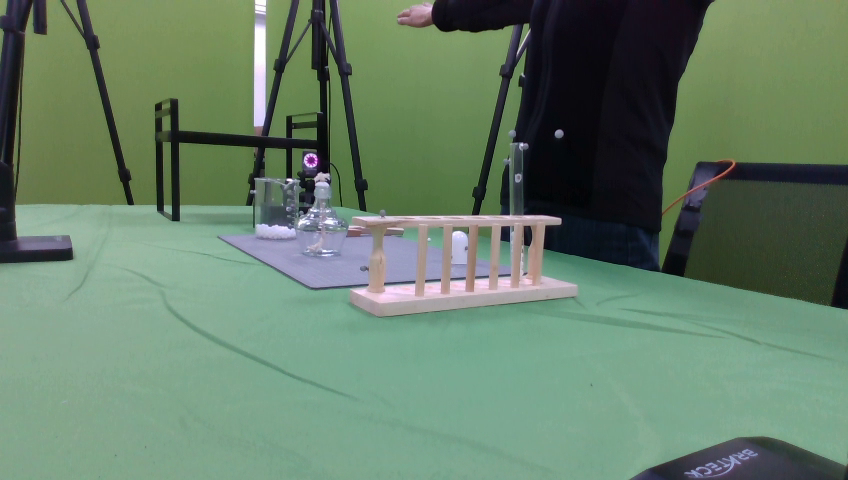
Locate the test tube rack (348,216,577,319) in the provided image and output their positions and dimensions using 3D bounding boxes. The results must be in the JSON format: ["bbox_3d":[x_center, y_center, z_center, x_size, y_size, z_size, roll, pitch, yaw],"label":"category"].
[{"bbox_3d":[0.048,0.021,0.619,0.244,0.085,0.066,-2,9,-31],"label":"test tube rack"}]

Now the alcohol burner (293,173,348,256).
[{"bbox_3d":[-0.147,-0.036,0.859,0.078,0.119,0.078,4,9,0],"label":"alcohol burner"}]

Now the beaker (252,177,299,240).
[{"bbox_3d":[-0.245,-0.052,1.005,0.074,0.100,0.083,-3,10,-32],"label":"beaker"}]

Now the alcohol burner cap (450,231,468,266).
[{"bbox_3d":[0.046,0.011,0.838,0.034,0.048,0.034,2,6,0],"label":"alcohol burner cap"}]

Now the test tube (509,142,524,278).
[{"bbox_3d":[0.102,-0.031,0.663,0.017,0.150,0.017,-2,9,1],"label":"test tube"}]

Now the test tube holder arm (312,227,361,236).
[{"bbox_3d":[-0.154,-0.015,1.068,0.088,0.015,0.010,0,38,-32],"label":"test tube holder arm"}]

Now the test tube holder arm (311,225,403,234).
[{"bbox_3d":[-0.118,-0.018,1.097,0.179,0.015,0.013,-1,38,-33],"label":"test tube holder arm"}]
